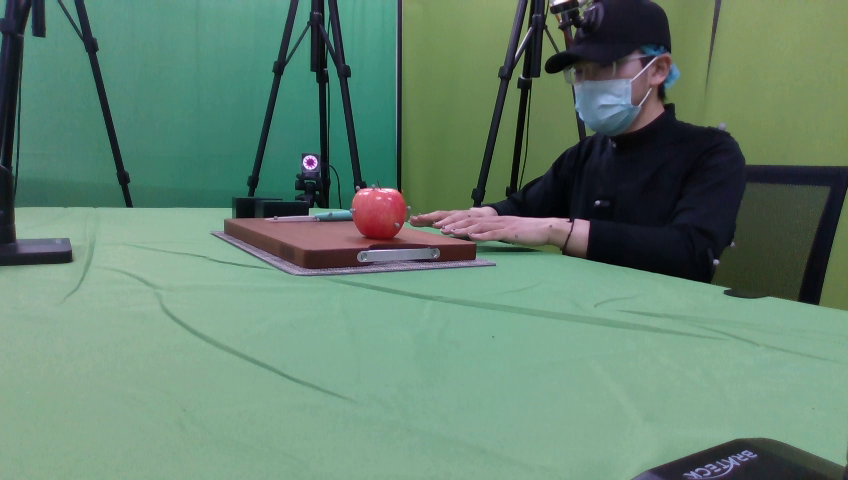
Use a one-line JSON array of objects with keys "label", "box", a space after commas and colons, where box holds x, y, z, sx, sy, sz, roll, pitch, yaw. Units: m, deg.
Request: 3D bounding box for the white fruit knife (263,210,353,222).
[{"label": "white fruit knife", "box": [-0.196, -0.042, 1.100, 0.208, 0.016, 0.027, -6, -19, -41]}]

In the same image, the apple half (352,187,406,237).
[{"label": "apple half", "box": [-0.059, -0.039, 0.883, 0.081, 0.074, 0.053, 2, 11, -39]}]

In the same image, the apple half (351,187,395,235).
[{"label": "apple half", "box": [-0.083, -0.045, 0.913, 0.082, 0.081, 0.032, -3, 13, -38]}]
